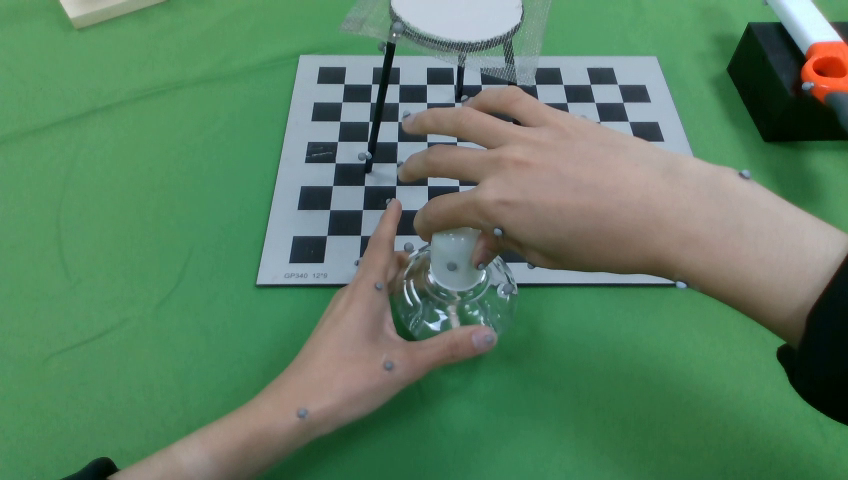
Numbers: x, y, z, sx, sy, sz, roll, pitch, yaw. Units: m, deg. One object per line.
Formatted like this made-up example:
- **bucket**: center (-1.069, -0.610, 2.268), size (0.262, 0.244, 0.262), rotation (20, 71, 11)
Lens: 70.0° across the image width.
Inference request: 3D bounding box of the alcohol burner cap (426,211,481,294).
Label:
- **alcohol burner cap**: center (0.017, 0.005, 0.340), size (0.034, 0.048, 0.033), rotation (-1, 51, 2)

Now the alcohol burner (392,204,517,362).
- **alcohol burner**: center (0.018, 0.023, 0.364), size (0.078, 0.120, 0.077), rotation (-1, 52, 1)

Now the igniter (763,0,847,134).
- **igniter**: center (0.326, -0.148, 0.492), size (0.057, 0.025, 0.273), rotation (-2, 51, 2)

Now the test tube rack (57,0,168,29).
- **test tube rack**: center (-0.265, -0.309, 0.625), size (0.242, 0.086, 0.066), rotation (-28, 59, -20)

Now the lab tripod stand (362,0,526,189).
- **lab tripod stand**: center (0.023, -0.115, 0.450), size (0.148, 0.132, 0.147), rotation (2, 53, -2)

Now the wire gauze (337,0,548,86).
- **wire gauze**: center (0.021, -0.153, 0.394), size (0.125, 0.011, 0.120), rotation (15, 54, 8)
